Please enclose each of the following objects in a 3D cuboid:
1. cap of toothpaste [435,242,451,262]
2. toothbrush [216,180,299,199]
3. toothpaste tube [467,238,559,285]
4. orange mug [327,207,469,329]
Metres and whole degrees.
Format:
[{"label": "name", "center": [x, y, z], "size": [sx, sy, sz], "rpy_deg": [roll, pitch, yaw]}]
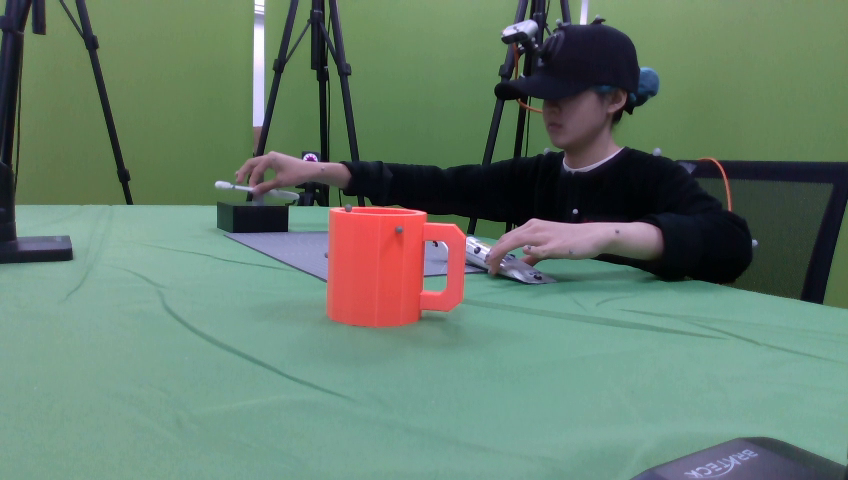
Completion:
[{"label": "cap of toothpaste", "center": [0.029, 0.014, 0.849], "size": [0.011, 0.037, 0.037], "rpy_deg": [-32, 26, -30]}, {"label": "toothbrush", "center": [-0.305, -0.093, 1.131], "size": [0.016, 0.014, 0.183], "rpy_deg": [-10, -11, 37]}, {"label": "toothpaste tube", "center": [0.096, 0.030, 0.789], "size": [0.055, 0.034, 0.164], "rpy_deg": [-6, 19, -38]}, {"label": "orange mug", "center": [-0.024, 0.021, 0.535], "size": [0.126, 0.100, 0.083], "rpy_deg": [0, 6, 8]}]
